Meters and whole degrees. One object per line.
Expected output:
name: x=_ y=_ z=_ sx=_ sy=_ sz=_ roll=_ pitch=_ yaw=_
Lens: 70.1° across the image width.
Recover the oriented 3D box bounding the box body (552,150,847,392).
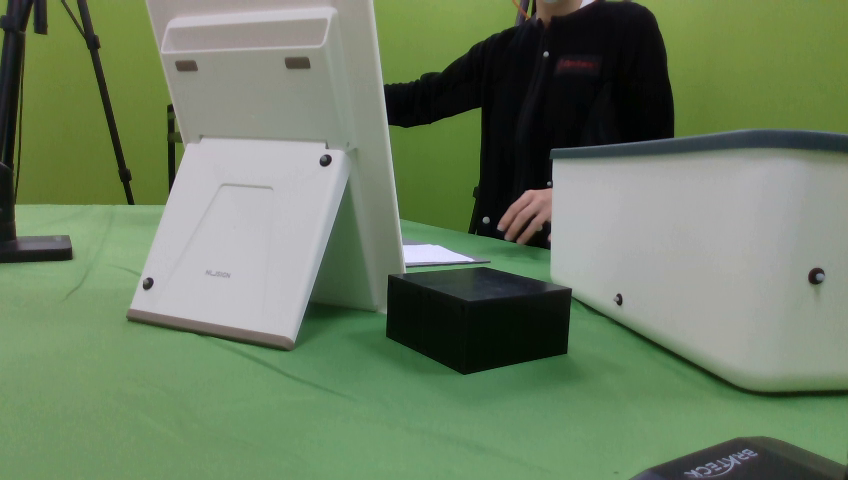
box body: x=0.290 y=0.002 z=0.549 sx=0.255 sy=0.160 sz=0.363 roll=2 pitch=7 yaw=-10

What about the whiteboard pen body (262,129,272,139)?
whiteboard pen body: x=-0.361 y=-0.245 z=1.393 sx=0.017 sy=0.017 sz=0.140 roll=0 pitch=5 yaw=-20

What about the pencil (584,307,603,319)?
pencil: x=0.250 y=0.054 z=0.656 sx=0.195 sy=0.012 sz=0.012 roll=-14 pitch=14 yaw=-25

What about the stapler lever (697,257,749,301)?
stapler lever: x=0.290 y=0.035 z=0.581 sx=0.026 sy=0.040 sz=0.119 roll=28 pitch=19 yaw=34

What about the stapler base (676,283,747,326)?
stapler base: x=0.283 y=0.057 z=0.585 sx=0.041 sy=0.024 sz=0.131 roll=28 pitch=17 yaw=34

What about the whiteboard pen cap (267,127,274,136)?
whiteboard pen cap: x=-0.340 y=-0.239 z=1.337 sx=0.018 sy=0.018 sz=0.033 roll=1 pitch=-1 yaw=-15

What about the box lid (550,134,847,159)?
box lid: x=0.294 y=-0.071 z=0.538 sx=0.264 sy=0.015 sz=0.370 roll=2 pitch=6 yaw=-10

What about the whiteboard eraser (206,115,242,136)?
whiteboard eraser: x=-0.438 y=-0.249 z=1.320 sx=0.056 sy=0.042 sz=0.112 roll=-3 pitch=9 yaw=-30

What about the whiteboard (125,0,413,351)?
whiteboard: x=-0.151 y=-0.050 z=0.471 sx=0.216 sy=0.305 sz=0.144 roll=6 pitch=27 yaw=24
